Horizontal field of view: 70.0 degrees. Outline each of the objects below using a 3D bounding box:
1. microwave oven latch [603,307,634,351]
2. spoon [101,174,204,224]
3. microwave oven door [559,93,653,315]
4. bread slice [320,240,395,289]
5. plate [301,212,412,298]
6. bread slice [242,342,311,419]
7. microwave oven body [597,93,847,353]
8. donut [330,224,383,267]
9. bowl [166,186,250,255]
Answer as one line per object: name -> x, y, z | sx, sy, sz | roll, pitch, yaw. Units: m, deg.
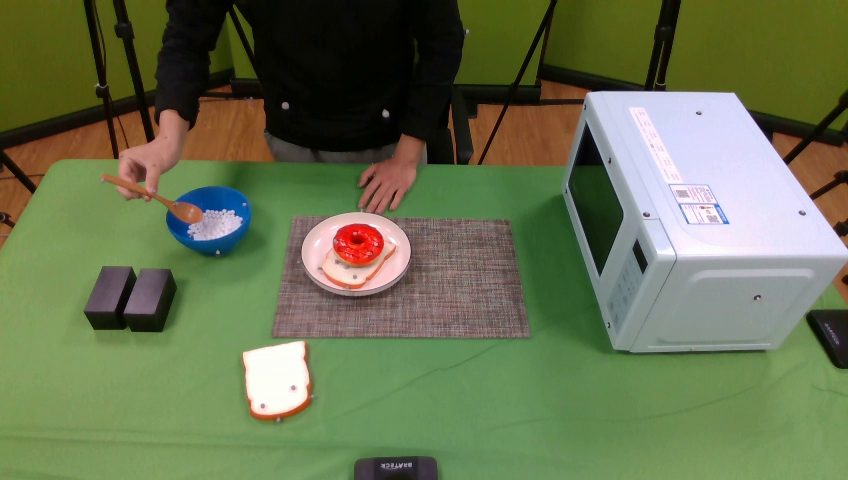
microwave oven latch -> 0.332, 0.153, 1.044 | 0.030, 0.029, 0.078 | 0, 45, -4
spoon -> -0.461, -0.073, 1.043 | 0.021, 0.195, 0.041 | -22, 60, 22
microwave oven door -> 0.327, -0.074, 1.123 | 0.039, 0.245, 0.353 | -1, 46, -5
bread slice -> -0.129, 0.037, 1.141 | 0.107, 0.018, 0.134 | 19, 47, 14
plate -> -0.126, 0.031, 1.145 | 0.208, 0.039, 0.206 | 2, 46, -2
bread slice -> -0.234, 0.223, 0.970 | 0.105, 0.019, 0.130 | -10, 46, -13
microwave oven body -> 0.475, -0.041, 1.109 | 0.326, 0.261, 0.438 | -1, 45, -4
donut -> -0.125, 0.010, 1.127 | 0.099, 0.048, 0.098 | 3, 45, -3
bowl -> -0.403, -0.024, 1.154 | 0.151, 0.077, 0.150 | 2, 46, -2
